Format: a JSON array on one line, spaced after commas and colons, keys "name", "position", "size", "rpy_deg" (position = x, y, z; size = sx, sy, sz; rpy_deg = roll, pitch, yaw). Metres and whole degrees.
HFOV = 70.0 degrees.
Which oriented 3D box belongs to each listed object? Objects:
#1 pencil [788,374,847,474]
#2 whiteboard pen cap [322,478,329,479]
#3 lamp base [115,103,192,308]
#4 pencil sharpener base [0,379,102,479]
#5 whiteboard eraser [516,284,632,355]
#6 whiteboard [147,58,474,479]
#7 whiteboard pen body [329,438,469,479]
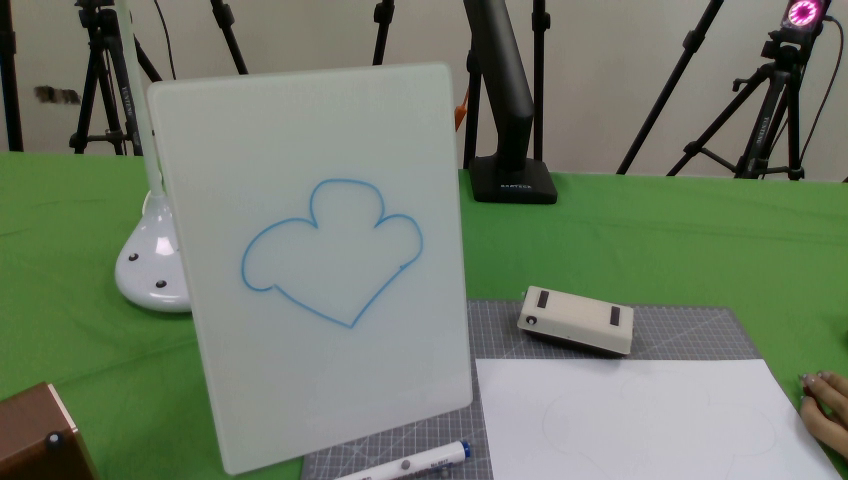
[{"name": "pencil", "position": [0.363, 0.187, 0.526], "size": [0.012, 0.012, 0.192], "rpy_deg": [3, 34, -1]}, {"name": "whiteboard pen cap", "position": [-0.085, 0.192, 0.457], "size": [0.033, 0.018, 0.018], "rpy_deg": [-11, 37, -19]}, {"name": "lamp base", "position": [-0.267, -0.045, 0.648], "size": [0.177, 0.181, 0.160], "rpy_deg": [26, 40, 32]}, {"name": "pencil sharpener base", "position": [-0.270, 0.162, 0.411], "size": [0.077, 0.108, 0.061], "rpy_deg": [-26, 45, -35]}, {"name": "whiteboard eraser", "position": [0.155, 0.083, 0.625], "size": [0.112, 0.042, 0.055], "rpy_deg": [13, 36, 12]}, {"name": "whiteboard", "position": [-0.091, 0.008, 0.531], "size": [0.218, 0.307, 0.142], "rpy_deg": [-11, 18, -19]}, {"name": "whiteboard pen body", "position": [-0.030, 0.182, 0.477], "size": [0.141, 0.017, 0.017], "rpy_deg": [-11, 37, -18]}]
